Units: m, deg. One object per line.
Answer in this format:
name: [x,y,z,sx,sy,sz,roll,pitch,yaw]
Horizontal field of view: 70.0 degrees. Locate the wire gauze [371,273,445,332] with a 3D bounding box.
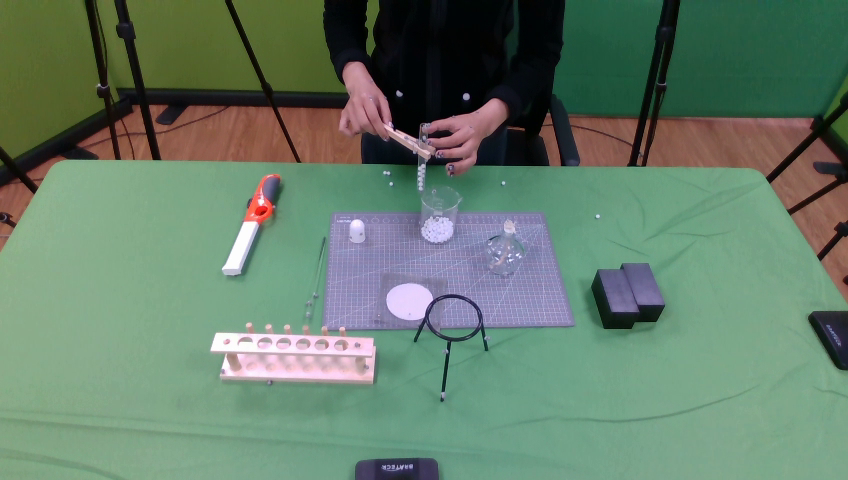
wire gauze: [-0.028,0.108,1.099,0.125,0.011,0.121,8,45,4]

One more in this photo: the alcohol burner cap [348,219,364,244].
alcohol burner cap: [-0.134,-0.019,1.190,0.034,0.048,0.033,2,46,-2]

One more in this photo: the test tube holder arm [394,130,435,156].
test tube holder arm: [-0.020,-0.176,1.100,0.087,0.015,0.010,27,45,17]

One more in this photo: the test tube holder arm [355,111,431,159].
test tube holder arm: [-0.060,-0.194,1.112,0.177,0.015,0.013,32,46,22]

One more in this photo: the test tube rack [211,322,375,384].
test tube rack: [-0.202,0.176,0.969,0.242,0.085,0.066,3,46,-2]

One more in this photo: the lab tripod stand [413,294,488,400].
lab tripod stand: [0.044,0.159,0.972,0.148,0.132,0.147,2,44,-2]

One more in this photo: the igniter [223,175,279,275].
igniter: [-0.341,-0.039,1.206,0.057,0.025,0.275,-1,45,8]

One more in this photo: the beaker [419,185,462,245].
beaker: [0.029,-0.047,1.191,0.084,0.101,0.073,-5,47,-10]

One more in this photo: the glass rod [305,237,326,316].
glass rod: [-0.202,0.064,1.131,0.008,0.008,0.198,3,43,0]

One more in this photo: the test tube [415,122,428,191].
test tube: [-0.005,-0.148,1.105,0.017,0.151,0.017,2,46,-2]

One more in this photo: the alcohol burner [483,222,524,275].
alcohol burner: [0.152,0.009,1.136,0.078,0.119,0.077,4,46,-4]
